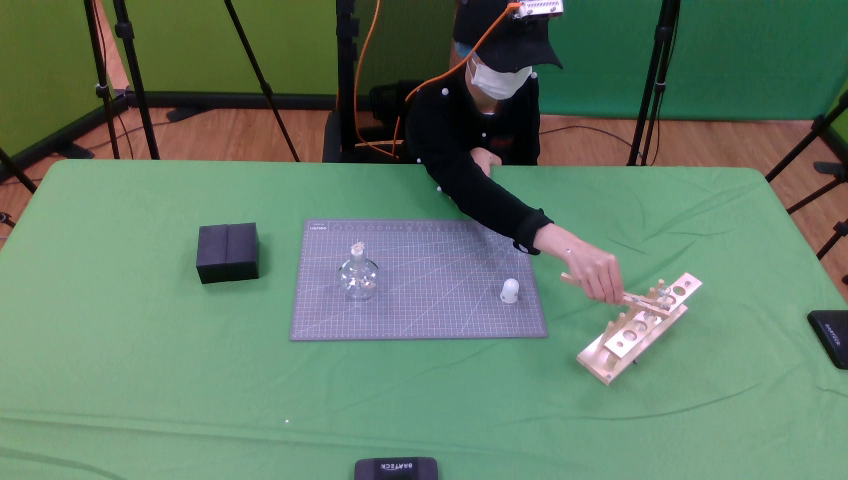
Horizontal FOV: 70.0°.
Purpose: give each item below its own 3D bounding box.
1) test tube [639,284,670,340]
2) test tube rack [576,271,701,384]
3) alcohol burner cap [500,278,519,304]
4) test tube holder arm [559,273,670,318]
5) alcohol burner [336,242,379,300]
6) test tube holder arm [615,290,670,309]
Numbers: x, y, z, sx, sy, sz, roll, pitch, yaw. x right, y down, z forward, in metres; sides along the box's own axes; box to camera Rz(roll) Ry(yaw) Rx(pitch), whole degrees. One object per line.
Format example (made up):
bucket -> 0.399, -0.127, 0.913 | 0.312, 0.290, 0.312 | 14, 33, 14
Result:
test tube -> 0.374, 0.122, 0.994 | 0.017, 0.151, 0.017 | 0, 50, 0
test tube rack -> 0.373, 0.138, 1.047 | 0.242, 0.085, 0.066 | -31, 56, -29
alcohol burner cap -> 0.157, 0.090, 1.104 | 0.034, 0.048, 0.033 | 2, 45, -2
test tube holder arm -> 0.309, 0.090, 0.990 | 0.178, 0.015, 0.013 | 18, 48, 13
alcohol burner -> -0.118, 0.050, 1.072 | 0.078, 0.120, 0.077 | 2, 44, -1
test tube holder arm -> 0.353, 0.098, 0.985 | 0.088, 0.015, 0.010 | 13, 47, 7
